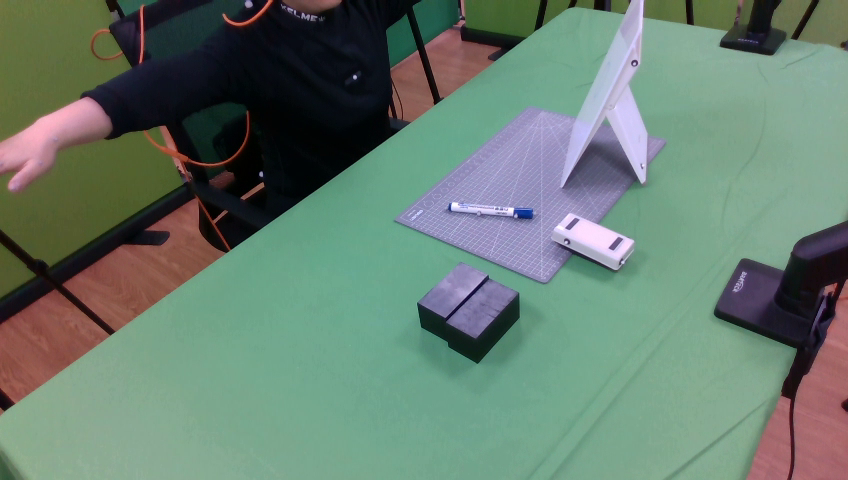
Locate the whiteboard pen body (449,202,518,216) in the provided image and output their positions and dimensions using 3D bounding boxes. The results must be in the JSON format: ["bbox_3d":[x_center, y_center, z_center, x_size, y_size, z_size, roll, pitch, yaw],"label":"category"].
[{"bbox_3d":[0.111,-0.052,1.021,0.140,0.017,0.017,6,42,16],"label":"whiteboard pen body"}]

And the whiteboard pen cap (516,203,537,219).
[{"bbox_3d":[0.171,-0.048,1.004,0.033,0.018,0.018,-23,42,-19],"label":"whiteboard pen cap"}]

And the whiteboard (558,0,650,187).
[{"bbox_3d":[0.361,-0.238,1.026,0.144,0.306,0.217,21,44,4],"label":"whiteboard"}]

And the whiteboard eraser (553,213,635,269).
[{"bbox_3d":[0.257,0.003,0.918,0.112,0.042,0.056,27,49,30],"label":"whiteboard eraser"}]
